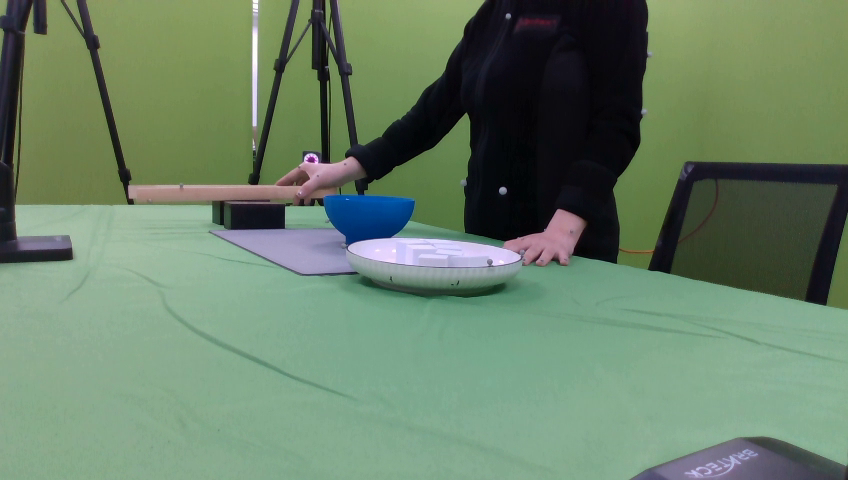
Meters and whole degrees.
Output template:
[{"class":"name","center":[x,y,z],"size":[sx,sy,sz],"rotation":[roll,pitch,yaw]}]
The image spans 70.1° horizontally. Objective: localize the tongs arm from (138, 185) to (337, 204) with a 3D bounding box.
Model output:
[{"class":"tongs arm","center":[-0.335,-0.088,1.146],"size":[0.387,0.026,0.050],"rotation":[-5,7,-33]}]

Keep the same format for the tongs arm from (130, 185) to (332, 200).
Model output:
[{"class":"tongs arm","center":[-0.371,-0.095,1.207],"size":[0.389,0.028,0.028],"rotation":[-3,2,-23]}]

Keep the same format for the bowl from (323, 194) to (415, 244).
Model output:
[{"class":"bowl","center":[-0.091,-0.032,0.987],"size":[0.151,0.077,0.151],"rotation":[2,7,0]}]

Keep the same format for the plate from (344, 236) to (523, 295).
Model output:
[{"class":"plate","center":[0.010,0.030,0.707],"size":[0.208,0.039,0.207],"rotation":[3,8,0]}]
